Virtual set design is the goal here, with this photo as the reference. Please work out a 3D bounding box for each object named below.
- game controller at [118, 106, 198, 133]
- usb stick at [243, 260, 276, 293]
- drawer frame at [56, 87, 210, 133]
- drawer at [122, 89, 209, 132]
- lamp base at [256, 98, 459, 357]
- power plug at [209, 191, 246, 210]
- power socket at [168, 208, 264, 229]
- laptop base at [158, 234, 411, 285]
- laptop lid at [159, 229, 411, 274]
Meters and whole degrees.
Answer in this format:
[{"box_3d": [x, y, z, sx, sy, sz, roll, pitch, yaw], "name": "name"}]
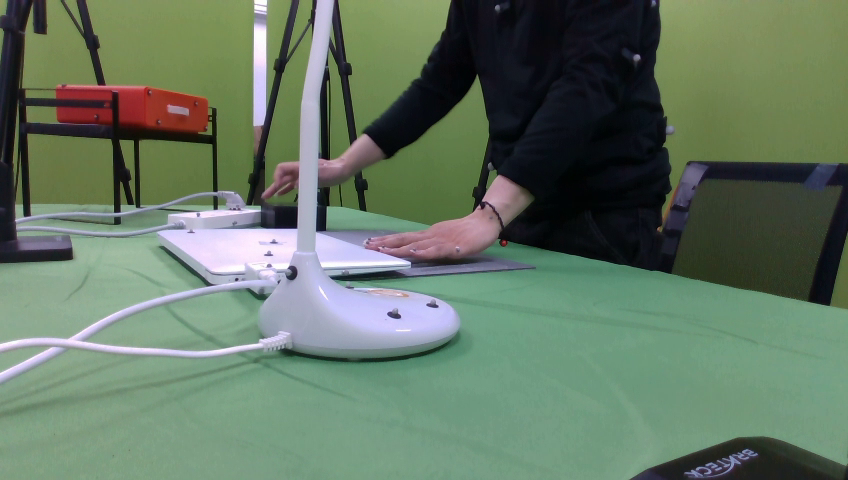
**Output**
[{"box_3d": [-0.555, -0.251, 1.255, 0.097, 0.051, 0.155, 9, 12, 18], "name": "game controller"}, {"box_3d": [-0.166, 0.035, 0.603, 0.021, 0.027, 0.059, -8, 8, -29], "name": "usb stick"}, {"box_3d": [-0.598, -0.269, 1.261, 0.213, 0.082, 0.202, 4, 8, 14], "name": "drawer frame"}, {"box_3d": [-0.595, -0.268, 1.263, 0.211, 0.073, 0.195, 4, 8, 15], "name": "drawer"}, {"box_3d": [-0.055, -0.013, 0.463, 0.160, 0.180, 0.180, 6, 11, 27], "name": "lamp base"}, {"box_3d": [-0.388, -0.071, 1.204, 0.072, 0.052, 0.035, 4, 8, 26], "name": "power plug"}, {"box_3d": [-0.381, -0.038, 1.128, 0.072, 0.032, 0.227, 4, 8, 16], "name": "power socket"}, {"box_3d": [-0.204, 0.019, 0.807, 0.237, 0.023, 0.352, 0, 7, -33], "name": "laptop base"}, {"box_3d": [-0.201, 0.007, 0.806, 0.243, 0.013, 0.355, -1, 8, -31], "name": "laptop lid"}]
